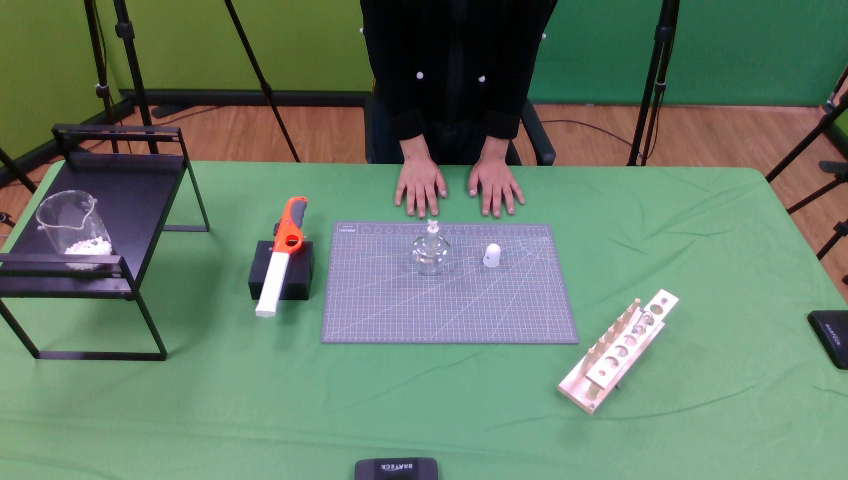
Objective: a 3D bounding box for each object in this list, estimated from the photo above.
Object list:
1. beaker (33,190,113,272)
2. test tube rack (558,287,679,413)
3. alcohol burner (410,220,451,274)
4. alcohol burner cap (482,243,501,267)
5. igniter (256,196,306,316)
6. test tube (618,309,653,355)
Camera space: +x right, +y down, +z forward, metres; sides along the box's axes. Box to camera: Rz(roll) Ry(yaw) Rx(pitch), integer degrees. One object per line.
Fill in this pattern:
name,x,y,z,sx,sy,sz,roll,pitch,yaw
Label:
beaker,-0.493,-0.009,0.865,0.083,0.101,0.074,37,55,27
test tube rack,0.326,0.170,1.009,0.066,0.085,0.242,36,54,27
alcohol burner,0.013,0.007,1.120,0.078,0.120,0.077,1,48,-1
alcohol burner cap,0.131,0.025,1.161,0.034,0.048,0.033,4,46,-4
igniter,-0.255,0.019,1.090,0.057,0.025,0.275,6,48,-2
test tube,0.329,0.155,0.956,0.017,0.151,0.017,2,51,-2
